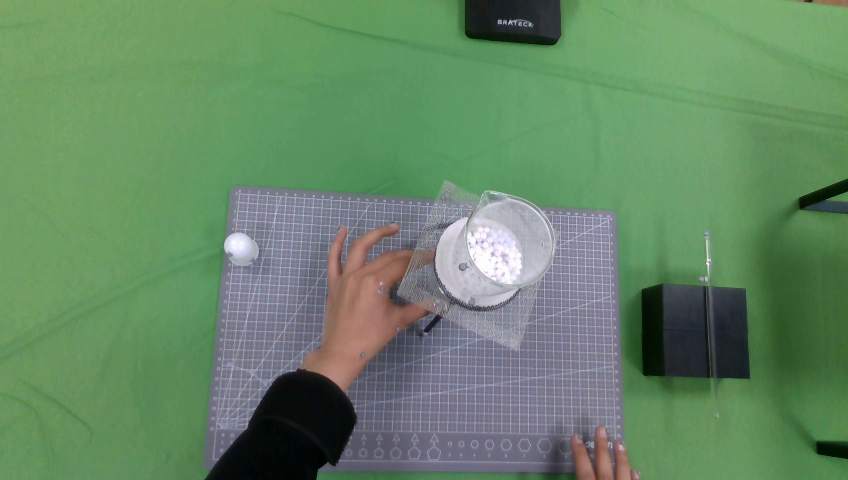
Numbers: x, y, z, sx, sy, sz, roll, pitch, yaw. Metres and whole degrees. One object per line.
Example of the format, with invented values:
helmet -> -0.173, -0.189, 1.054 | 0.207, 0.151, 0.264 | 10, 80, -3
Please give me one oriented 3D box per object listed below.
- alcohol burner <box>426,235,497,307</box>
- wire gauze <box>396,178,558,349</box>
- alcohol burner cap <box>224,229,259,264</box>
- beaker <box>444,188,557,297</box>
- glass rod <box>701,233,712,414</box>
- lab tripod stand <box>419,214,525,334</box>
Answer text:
alcohol burner -> 0.043, 0.030, 0.634 | 0.078, 0.119, 0.077 | 2, 79, -9
wire gauze -> 0.051, 0.020, 0.560 | 0.125, 0.011, 0.121 | 25, 78, -6
alcohol burner cap -> -0.195, 0.005, 0.641 | 0.034, 0.048, 0.033 | 1, 78, -6
beaker -> 0.058, 0.007, 0.514 | 0.074, 0.100, 0.083 | -21, 82, -13
glass rod -> 0.312, 0.090, 0.669 | 0.008, 0.008, 0.199 | 5, 79, -7
lab tripod stand -> 0.046, 0.031, 0.624 | 0.149, 0.132, 0.147 | 2, 77, -9
